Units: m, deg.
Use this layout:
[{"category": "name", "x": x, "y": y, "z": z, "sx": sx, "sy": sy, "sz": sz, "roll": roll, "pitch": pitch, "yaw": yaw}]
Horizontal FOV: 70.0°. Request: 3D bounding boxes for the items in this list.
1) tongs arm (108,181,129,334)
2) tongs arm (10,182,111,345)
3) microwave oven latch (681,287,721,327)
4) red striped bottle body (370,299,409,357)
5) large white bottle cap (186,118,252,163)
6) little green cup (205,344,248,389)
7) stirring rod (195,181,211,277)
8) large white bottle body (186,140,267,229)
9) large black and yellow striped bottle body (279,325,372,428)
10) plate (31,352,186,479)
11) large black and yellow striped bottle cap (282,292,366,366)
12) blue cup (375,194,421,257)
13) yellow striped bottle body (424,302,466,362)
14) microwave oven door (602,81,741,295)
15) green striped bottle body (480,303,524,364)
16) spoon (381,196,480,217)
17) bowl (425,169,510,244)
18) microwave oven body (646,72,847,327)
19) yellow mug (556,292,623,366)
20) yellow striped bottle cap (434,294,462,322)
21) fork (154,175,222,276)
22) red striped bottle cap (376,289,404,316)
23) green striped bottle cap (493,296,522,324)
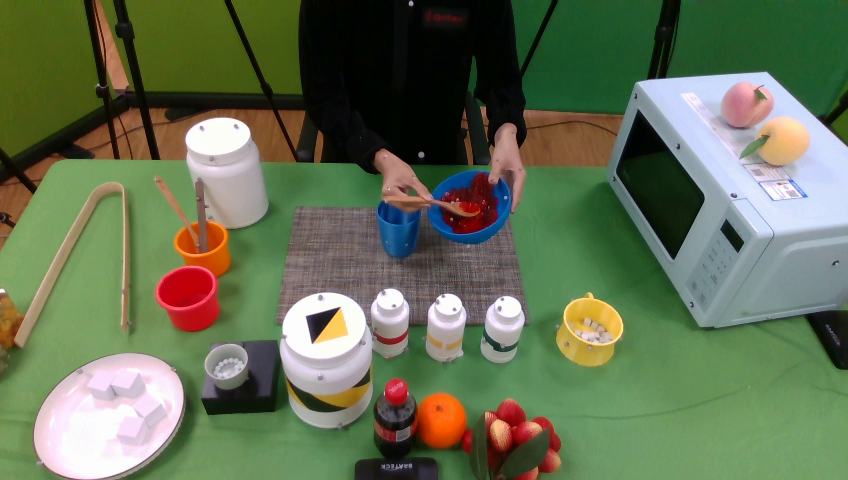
[{"category": "tongs arm", "x": -0.571, "y": 0.019, "z": 1.123, "sx": 0.051, "sy": 0.026, "sz": 0.382, "roll": -11, "pitch": 47, "yaw": -12}, {"category": "tongs arm", "x": -0.658, "y": 0.027, "z": 1.109, "sx": 0.028, "sy": 0.028, "sz": 0.385, "roll": -2, "pitch": 45, "yaw": 2}, {"category": "microwave oven latch", "x": 0.494, "y": 0.119, "z": 1.087, "sx": 0.030, "sy": 0.029, "sz": 0.078, "roll": -6, "pitch": 46, "yaw": -9}, {"category": "red striped bottle body", "x": -0.058, "y": 0.135, "z": 0.997, "sx": 0.063, "sy": 0.120, "sz": 0.062, "roll": 3, "pitch": 47, "yaw": -3}, {"category": "large white bottle cap", "x": -0.377, "y": -0.185, "z": 1.114, "sx": 0.115, "sy": 0.018, "sz": 0.114, "roll": 2, "pitch": 47, "yaw": -2}, {"category": "little green cup", "x": -0.293, "y": 0.191, "z": 0.909, "sx": 0.061, "sy": 0.039, "sz": 0.061, "roll": 1, "pitch": 47, "yaw": -1}, {"category": "stirring rod", "x": -0.403, "y": -0.020, "z": 1.104, "sx": 0.014, "sy": 0.006, "sz": 0.176, "roll": -6, "pitch": 89, "yaw": -9}, {"category": "large white bottle body", "x": -0.382, "y": -0.127, "z": 1.175, "sx": 0.131, "sy": 0.185, "sz": 0.130, "roll": 2, "pitch": 47, "yaw": -2}, {"category": "large black and yellow striped bottle body", "x": -0.143, "y": 0.181, "z": 0.900, "sx": 0.131, "sy": 0.185, "sz": 0.130, "roll": 2, "pitch": 46, "yaw": -2}, {"category": "plate", "x": -0.459, "y": 0.262, "z": 0.898, "sx": 0.209, "sy": 0.038, "sz": 0.208, "roll": 2, "pitch": 46, "yaw": -2}, {"category": "large black and yellow striped bottle cap", "x": -0.138, "y": 0.121, "z": 0.841, "sx": 0.115, "sy": 0.019, "sz": 0.114, "roll": 3, "pitch": 47, "yaw": -3}, {"category": "blue cup", "x": -0.051, "y": -0.022, "z": 1.157, "sx": 0.093, "sy": 0.101, "sz": 0.092, "roll": 2, "pitch": 47, "yaw": -2}, {"category": "yellow striped bottle body", "x": 0.035, "y": 0.143, "z": 0.995, "sx": 0.063, "sy": 0.121, "sz": 0.062, "roll": 3, "pitch": 46, "yaw": -3}, {"category": "microwave oven door", "x": 0.456, "y": -0.107, "z": 1.162, "sx": 0.039, "sy": 0.245, "sz": 0.353, "roll": -7, "pitch": 47, "yaw": -11}, {"category": "green striped bottle body", "x": 0.129, "y": 0.147, "z": 1.000, "sx": 0.063, "sy": 0.120, "sz": 0.063, "roll": 2, "pitch": 46, "yaw": -2}, {"category": "spoon", "x": 0.014, "y": -0.063, "z": 1.052, "sx": 0.194, "sy": 0.022, "sz": 0.041, "roll": 7, "pitch": 42, "yaw": -31}, {"category": "bowl", "x": 0.084, "y": -0.045, "z": 1.082, "sx": 0.151, "sy": 0.077, "sz": 0.150, "roll": -9, "pitch": 52, "yaw": 12}, {"category": "microwave oven body", "x": 0.607, "y": -0.090, "z": 1.164, "sx": 0.326, "sy": 0.261, "sz": 0.438, "roll": -7, "pitch": 46, "yaw": -10}, {"category": "yellow mug", "x": 0.285, "y": 0.146, "z": 1.051, "sx": 0.100, "sy": 0.064, "sz": 0.130, "roll": 7, "pitch": 45, "yaw": 4}, {"category": "yellow striped bottle cap", "x": 0.038, "y": 0.107, "z": 0.958, "sx": 0.044, "sy": 0.019, "sz": 0.044, "roll": 2, "pitch": 45, "yaw": -2}, {"category": "fork", "x": -0.431, "y": -0.027, "z": 1.101, "sx": 0.028, "sy": 0.018, "sz": 0.207, "roll": -33, "pitch": 100, "yaw": -25}, {"category": "red striped bottle cap", "x": -0.055, "y": 0.098, "z": 0.958, "sx": 0.044, "sy": 0.018, "sz": 0.044, "roll": 0, "pitch": 48, "yaw": 0}, {"category": "green striped bottle cap", "x": 0.133, "y": 0.111, "z": 0.962, "sx": 0.044, "sy": 0.020, "sz": 0.044, "roll": 2, "pitch": 47, "yaw": -1}]
